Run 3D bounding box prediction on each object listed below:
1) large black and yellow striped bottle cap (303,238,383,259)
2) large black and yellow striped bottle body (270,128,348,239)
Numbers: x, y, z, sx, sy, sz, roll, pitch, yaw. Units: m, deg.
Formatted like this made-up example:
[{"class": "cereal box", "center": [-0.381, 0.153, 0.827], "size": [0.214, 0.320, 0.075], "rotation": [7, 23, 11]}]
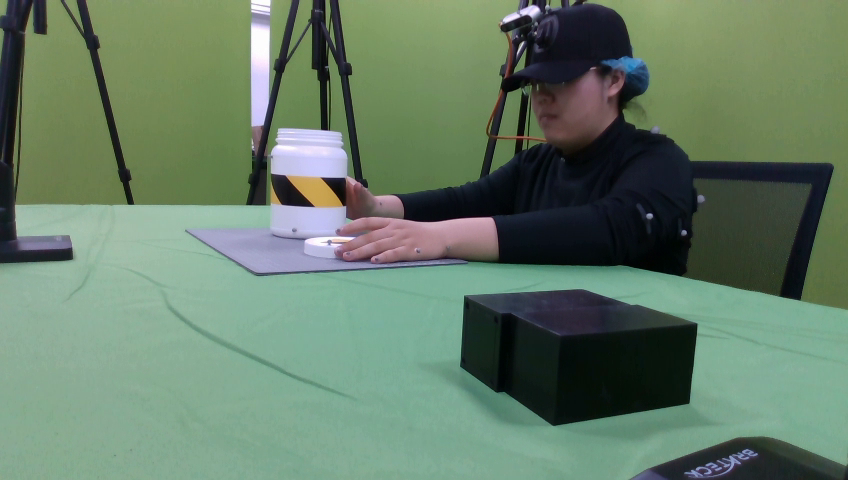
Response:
[{"class": "large black and yellow striped bottle cap", "center": [-0.117, 0.011, 0.880], "size": [0.115, 0.019, 0.115], "rotation": [2, 6, 0]}, {"class": "large black and yellow striped bottle body", "center": [-0.200, -0.099, 1.053], "size": [0.131, 0.184, 0.130], "rotation": [3, 8, 0]}]
